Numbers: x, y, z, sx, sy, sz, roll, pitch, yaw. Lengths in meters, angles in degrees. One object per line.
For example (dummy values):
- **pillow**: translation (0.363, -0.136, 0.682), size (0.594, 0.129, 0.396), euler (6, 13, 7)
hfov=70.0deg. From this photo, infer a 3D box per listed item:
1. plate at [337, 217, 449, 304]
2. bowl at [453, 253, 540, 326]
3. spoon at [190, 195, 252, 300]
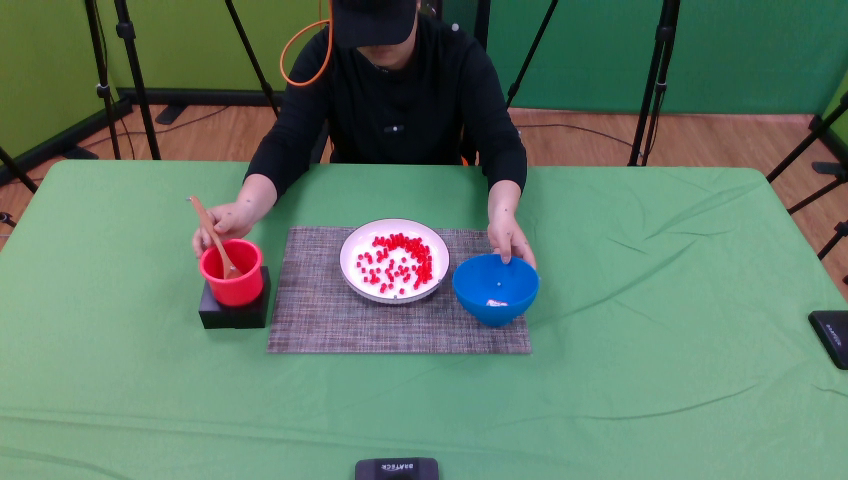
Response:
- **plate**: translation (-0.058, 0.042, 1.137), size (0.208, 0.039, 0.206), euler (2, 46, -2)
- **bowl**: translation (0.126, 0.096, 1.059), size (0.151, 0.077, 0.150), euler (-2, 35, 2)
- **spoon**: translation (-0.339, 0.012, 1.007), size (0.041, 0.021, 0.194), euler (-28, 98, -36)
